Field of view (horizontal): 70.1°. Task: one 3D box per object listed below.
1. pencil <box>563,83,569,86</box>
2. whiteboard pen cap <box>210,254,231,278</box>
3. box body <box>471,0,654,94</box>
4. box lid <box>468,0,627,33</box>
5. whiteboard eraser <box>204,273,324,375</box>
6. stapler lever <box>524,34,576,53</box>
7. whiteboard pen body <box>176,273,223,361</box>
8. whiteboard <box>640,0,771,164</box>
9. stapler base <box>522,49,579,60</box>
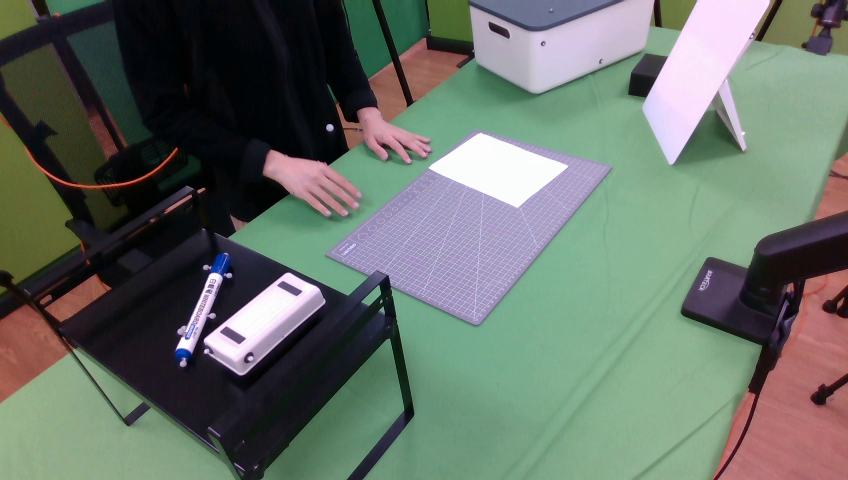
[{"bbox_3d":[0.248,-0.393,1.398,0.193,0.012,0.012,30,52,24],"label":"pencil"},{"bbox_3d":[-0.234,0.032,0.695,0.018,0.018,0.033,-4,40,4],"label":"whiteboard pen cap"},{"bbox_3d":[0.319,-0.498,1.405,0.365,0.161,0.252,-26,43,-21],"label":"box body"},{"bbox_3d":[0.312,-0.554,1.358,0.373,0.015,0.261,-26,44,-20],"label":"box lid"},{"bbox_3d":[-0.157,0.084,0.605,0.055,0.042,0.113,24,49,30],"label":"whiteboard eraser"},{"bbox_3d":[0.297,-0.463,1.424,0.117,0.040,0.027,5,22,17],"label":"stapler lever"},{"bbox_3d":[-0.237,0.071,0.651,0.017,0.017,0.140,-3,40,5],"label":"whiteboard pen body"},{"bbox_3d":[0.543,-0.299,1.076,0.144,0.305,0.216,12,40,-7],"label":"whiteboard"},{"bbox_3d":[0.300,-0.442,1.433,0.130,0.024,0.041,3,21,18],"label":"stapler base"}]
